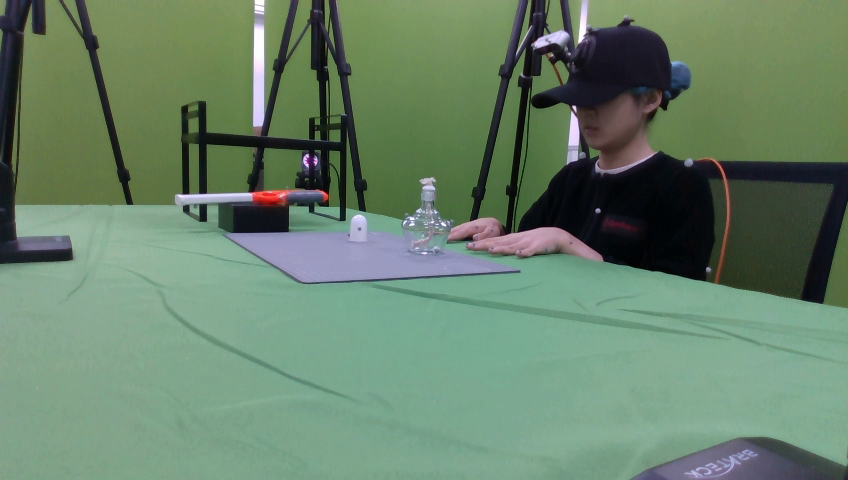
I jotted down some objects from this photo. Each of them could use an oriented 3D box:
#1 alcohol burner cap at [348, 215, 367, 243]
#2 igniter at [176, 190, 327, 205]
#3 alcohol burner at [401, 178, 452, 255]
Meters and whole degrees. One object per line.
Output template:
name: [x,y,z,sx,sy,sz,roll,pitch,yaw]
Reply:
alcohol burner cap: [-0.112,-0.019,1.025,0.034,0.048,0.034,1,6,0]
igniter: [-0.316,-0.080,1.137,0.278,0.025,0.057,-4,12,-33]
alcohol burner: [0.005,-0.036,0.923,0.078,0.119,0.078,5,7,0]
